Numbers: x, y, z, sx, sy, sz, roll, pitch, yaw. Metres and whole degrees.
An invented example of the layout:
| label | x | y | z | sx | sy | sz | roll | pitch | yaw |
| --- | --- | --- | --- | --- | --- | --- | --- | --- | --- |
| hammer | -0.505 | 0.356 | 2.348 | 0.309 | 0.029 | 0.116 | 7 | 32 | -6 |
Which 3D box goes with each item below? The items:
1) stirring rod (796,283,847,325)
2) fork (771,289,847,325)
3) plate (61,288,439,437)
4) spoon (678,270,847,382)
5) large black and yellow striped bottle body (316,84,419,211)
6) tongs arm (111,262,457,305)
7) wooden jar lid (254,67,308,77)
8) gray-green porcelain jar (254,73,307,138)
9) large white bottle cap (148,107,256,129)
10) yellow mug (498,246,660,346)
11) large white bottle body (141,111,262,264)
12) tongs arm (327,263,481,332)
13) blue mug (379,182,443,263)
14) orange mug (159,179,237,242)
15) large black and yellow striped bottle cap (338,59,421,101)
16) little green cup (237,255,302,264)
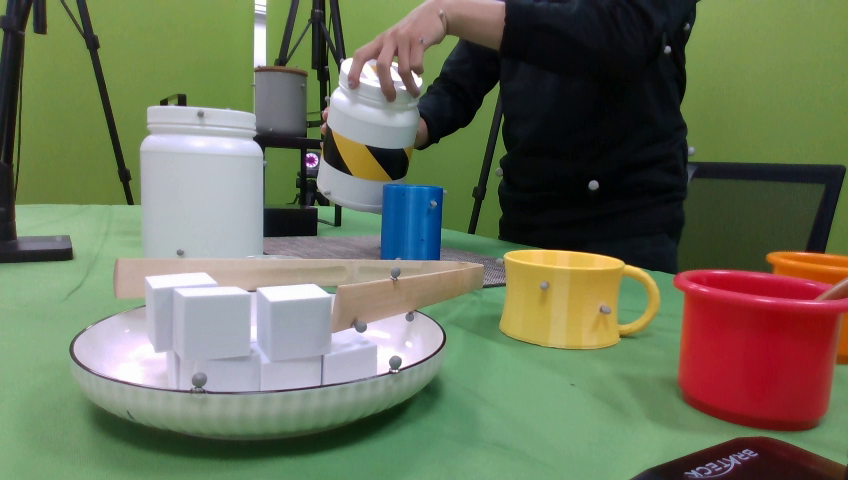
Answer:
| label | x | y | z | sx | sy | sz | roll | pitch | yaw |
| --- | --- | --- | --- | --- | --- | --- | --- | --- | --- |
| stirring rod | 0.347 | 0.019 | 0.460 | 0.014 | 0.176 | 0.006 | -17 | 59 | -26 |
| fork | 0.335 | 0.018 | 0.443 | 0.028 | 0.018 | 0.207 | -1 | -36 | -20 |
| plate | -0.095 | 0.069 | 0.362 | 0.208 | 0.039 | 0.207 | 3 | 7 | 0 |
| spoon | 0.229 | 0.031 | 0.338 | 0.193 | 0.021 | 0.042 | -44 | -17 | 27 |
| large black and yellow striped bottle body | -0.081 | -0.149 | 0.883 | 0.131 | 0.184 | 0.130 | 12 | 28 | -6 |
| tongs arm | -0.080 | 0.033 | 0.527 | 0.028 | 0.027 | 0.389 | -3 | -4 | 33 |
| wooden jar lid | -0.296 | -0.339 | 1.251 | 0.108 | 0.020 | 0.108 | 2 | 7 | 0 |
| gray-green porcelain jar | -0.298 | -0.277 | 1.259 | 0.106 | 0.126 | 0.106 | 3 | 7 | 0 |
| large white bottle cap | -0.250 | -0.137 | 0.686 | 0.115 | 0.018 | 0.115 | 2 | 8 | 0 |
| yellow mug | 0.130 | 0.045 | 0.508 | 0.131 | 0.064 | 0.100 | 4 | 7 | 6 |
| large white bottle body | -0.254 | -0.054 | 0.697 | 0.131 | 0.184 | 0.130 | 2 | 7 | 0 |
| tongs arm | -0.003 | 0.036 | 0.493 | 0.050 | 0.026 | 0.386 | 1 | -1 | 19 |
| blue mug | -0.019 | -0.026 | 0.833 | 0.082 | 0.106 | 0.116 | 1 | 8 | -7 |
| orange mug | -0.368 | -0.052 | 0.991 | 0.127 | 0.101 | 0.083 | -10 | 14 | -41 |
| large black and yellow striped bottle cap | -0.062 | -0.224 | 0.840 | 0.115 | 0.019 | 0.115 | 9 | 33 | -6 |
| little green cup | -0.150 | 0.038 | 0.590 | 0.061 | 0.038 | 0.061 | 3 | 7 | 0 |
